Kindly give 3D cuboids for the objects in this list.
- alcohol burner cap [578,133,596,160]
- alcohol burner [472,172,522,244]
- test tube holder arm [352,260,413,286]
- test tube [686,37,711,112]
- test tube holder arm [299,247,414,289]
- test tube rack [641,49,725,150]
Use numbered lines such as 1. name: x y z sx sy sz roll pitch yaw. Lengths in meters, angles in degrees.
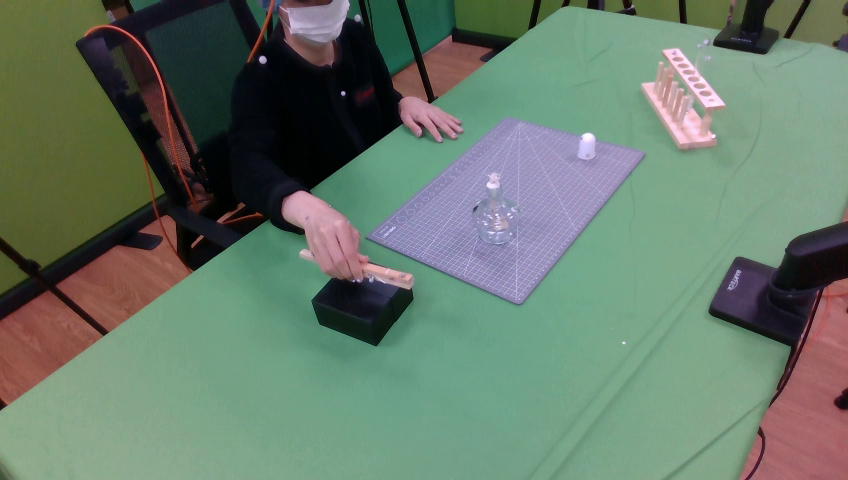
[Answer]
1. alcohol burner cap: 0.301 -0.174 1.111 0.034 0.048 0.033 -5 41 4
2. alcohol burner: 0.112 -0.053 0.942 0.078 0.119 0.077 -6 40 5
3. test tube holder arm: -0.055 0.043 0.803 0.087 0.010 0.015 14 40 23
4. test tube: 0.509 -0.306 1.128 0.017 0.151 0.017 -3 45 3
5. test tube holder arm: -0.095 0.037 0.824 0.177 0.013 0.015 14 40 23
6. test tube rack: 0.495 -0.279 1.175 0.067 0.085 0.241 -5 41 3
